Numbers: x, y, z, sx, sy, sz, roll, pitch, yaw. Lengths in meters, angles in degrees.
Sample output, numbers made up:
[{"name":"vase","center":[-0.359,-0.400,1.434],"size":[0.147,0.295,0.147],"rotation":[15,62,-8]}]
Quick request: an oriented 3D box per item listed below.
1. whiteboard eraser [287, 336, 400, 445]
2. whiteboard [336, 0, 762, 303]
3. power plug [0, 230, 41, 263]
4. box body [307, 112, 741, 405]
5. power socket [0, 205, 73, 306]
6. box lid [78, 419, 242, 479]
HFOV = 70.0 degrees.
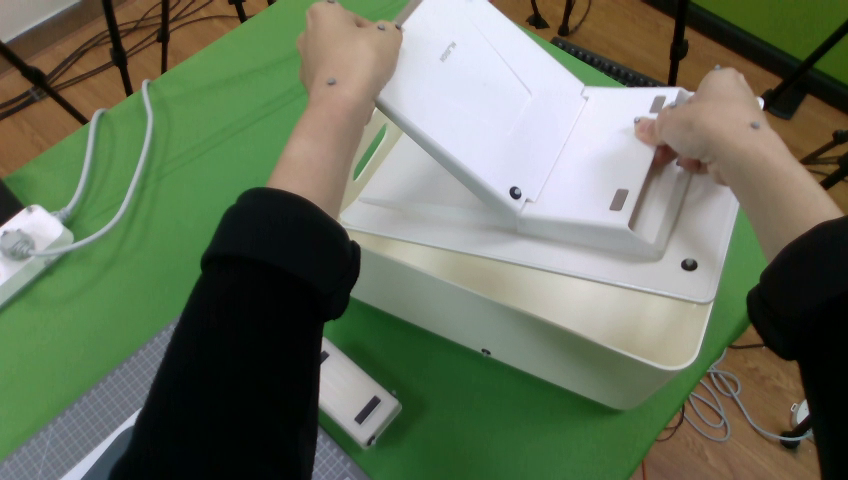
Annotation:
[{"name":"whiteboard eraser","center":[-0.082,0.152,0.617],"size":[0.112,0.042,0.055],"rotation":[35,64,21]},{"name":"whiteboard","center":[0.084,-0.108,0.465],"size":[0.303,0.145,0.216],"rotation":[12,52,28]},{"name":"power plug","center":[-0.457,0.017,0.686],"size":[0.035,0.053,0.072],"rotation":[-38,71,-19]},{"name":"box body","center":[0.101,-0.014,0.638],"size":[0.362,0.162,0.253],"rotation":[21,62,13]},{"name":"power socket","center":[-0.511,0.049,0.695],"size":[0.072,0.033,0.226],"rotation":[34,65,19]},{"name":"box lid","center":[-0.208,0.349,0.521],"size":[0.369,0.015,0.262],"rotation":[28,64,16]}]
